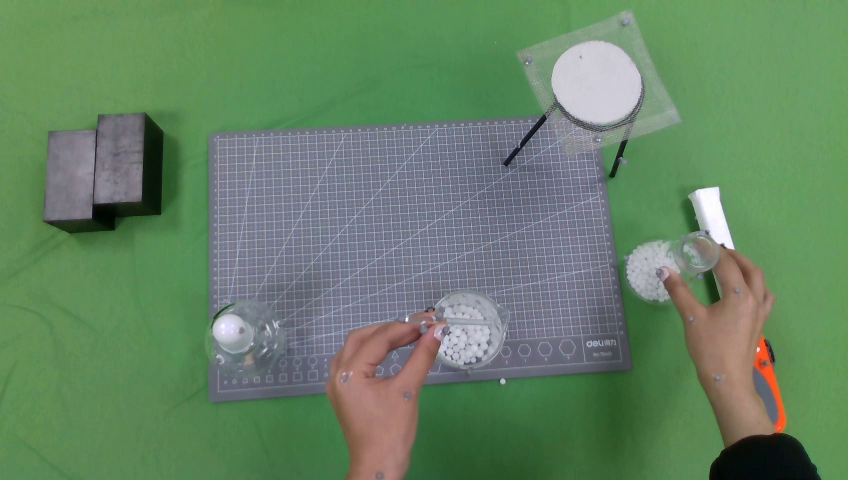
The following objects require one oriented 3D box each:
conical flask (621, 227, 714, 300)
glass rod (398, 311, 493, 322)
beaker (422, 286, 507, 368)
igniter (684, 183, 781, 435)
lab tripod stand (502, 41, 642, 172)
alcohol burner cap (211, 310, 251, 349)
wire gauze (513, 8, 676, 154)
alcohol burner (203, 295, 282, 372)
[{"bbox_3d":[0.255,0.019,0.623,0.075,0.122,0.075,0,78,2],"label":"conical flask"},{"bbox_3d":[0.026,0.066,0.517,0.008,0.201,0.008,-3,81,25],"label":"glass rod"},{"bbox_3d":[0.038,0.089,0.610,0.084,0.100,0.073,-22,79,-7],"label":"beaker"},{"bbox_3d":[0.338,0.071,0.666,0.057,0.025,0.275,-8,79,-15],"label":"igniter"},{"bbox_3d":[0.160,-0.135,0.647,0.148,0.132,0.147,1,79,-3],"label":"lab tripod stand"},{"bbox_3d":[-0.180,0.080,0.559,0.034,0.048,0.033,3,69,-7],"label":"alcohol burner cap"},{"bbox_3d":[0.165,-0.153,0.582,0.125,0.011,0.121,-20,81,-6],"label":"wire gauze"},{"bbox_3d":[-0.182,0.090,0.594,0.078,0.119,0.077,1,76,-3],"label":"alcohol burner"}]
